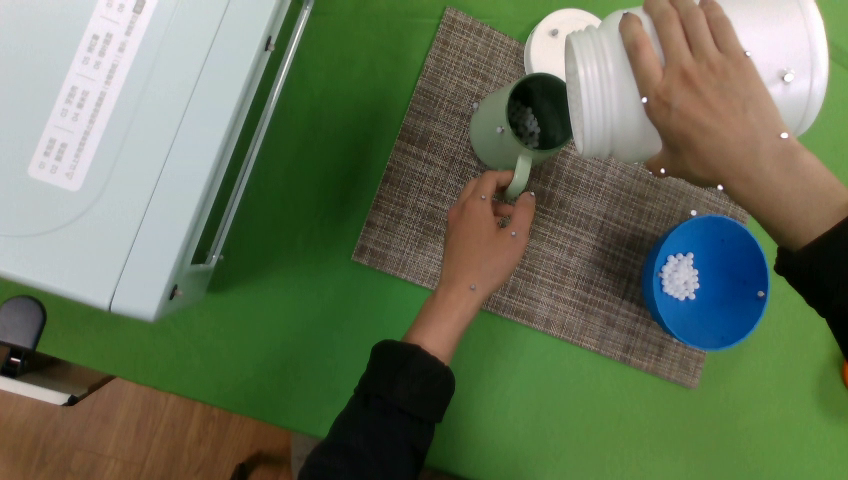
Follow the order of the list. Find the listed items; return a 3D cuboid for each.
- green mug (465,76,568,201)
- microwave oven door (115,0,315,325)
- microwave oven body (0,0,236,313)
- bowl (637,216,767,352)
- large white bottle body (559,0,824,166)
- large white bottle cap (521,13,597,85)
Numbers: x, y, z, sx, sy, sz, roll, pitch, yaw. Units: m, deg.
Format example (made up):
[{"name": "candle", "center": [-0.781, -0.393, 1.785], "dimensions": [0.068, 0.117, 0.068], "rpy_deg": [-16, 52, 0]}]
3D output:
[{"name": "green mug", "center": [0.095, -0.103, 0.637], "dimensions": [0.093, 0.104, 0.125], "rpy_deg": [13, 86, -14]}, {"name": "microwave oven door", "center": [-0.148, -0.113, 0.491], "dimensions": [0.039, 0.243, 0.355], "rpy_deg": [20, 84, -12]}, {"name": "microwave oven body", "center": [-0.270, -0.203, 0.466], "dimensions": [0.327, 0.259, 0.441], "rpy_deg": [20, 84, -13]}, {"name": "bowl", "center": [0.304, 0.050, 0.700], "dimensions": [0.152, 0.076, 0.151], "rpy_deg": [1, 88, -14]}, {"name": "large white bottle body", "center": [0.217, -0.135, 0.521], "dimensions": [0.184, 0.131, 0.130], "rpy_deg": [-8, 90, 8]}, {"name": "large white bottle cap", "center": [0.168, -0.205, 0.703], "dimensions": [0.115, 0.018, 0.114], "rpy_deg": [1, 88, -15]}]
